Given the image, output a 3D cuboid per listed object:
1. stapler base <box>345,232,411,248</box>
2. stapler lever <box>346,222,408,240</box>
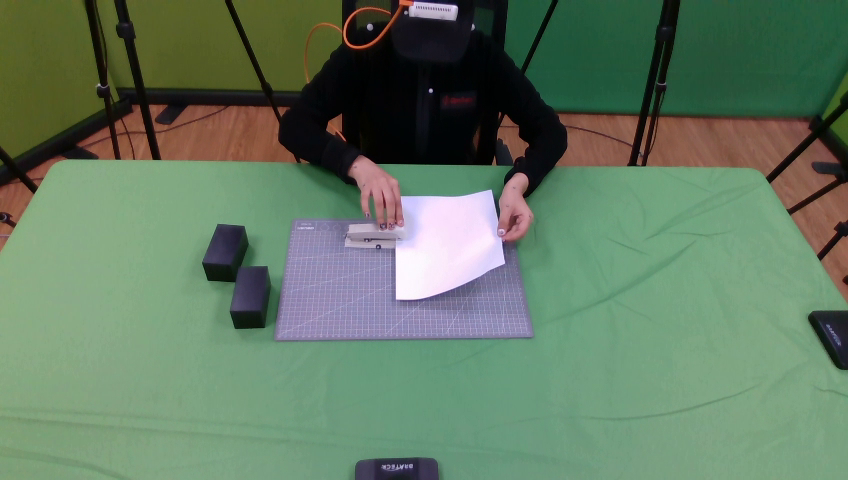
[{"bbox_3d":[-0.090,-0.007,1.192,0.130,0.024,0.041,0,44,-1],"label":"stapler base"},{"bbox_3d":[-0.090,-0.019,1.179,0.118,0.040,0.026,5,44,-6],"label":"stapler lever"}]
